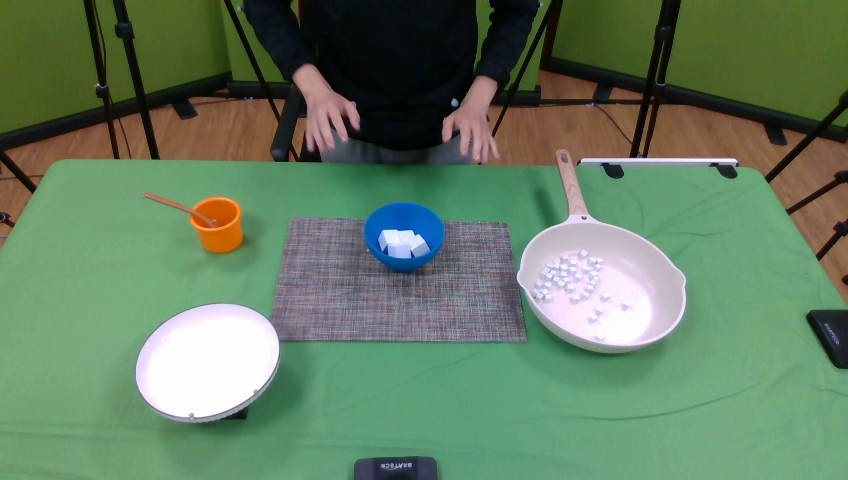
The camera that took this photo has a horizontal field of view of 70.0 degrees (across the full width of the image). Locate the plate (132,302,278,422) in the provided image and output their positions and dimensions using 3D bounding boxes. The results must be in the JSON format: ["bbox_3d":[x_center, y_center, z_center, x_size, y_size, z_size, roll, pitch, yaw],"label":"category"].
[{"bbox_3d":[-0.325,0.186,0.916,0.208,0.039,0.206,3,44,-2],"label":"plate"}]

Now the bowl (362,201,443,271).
[{"bbox_3d":[-0.041,0.006,1.145,0.151,0.077,0.150,2,46,-2],"label":"bowl"}]

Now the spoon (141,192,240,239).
[{"bbox_3d":[-0.428,-0.048,1.123,0.021,0.195,0.041,-39,44,20],"label":"spoon"}]

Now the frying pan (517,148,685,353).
[{"bbox_3d":[0.310,0.002,1.163,0.307,0.103,0.484,0,55,-5],"label":"frying pan"}]
